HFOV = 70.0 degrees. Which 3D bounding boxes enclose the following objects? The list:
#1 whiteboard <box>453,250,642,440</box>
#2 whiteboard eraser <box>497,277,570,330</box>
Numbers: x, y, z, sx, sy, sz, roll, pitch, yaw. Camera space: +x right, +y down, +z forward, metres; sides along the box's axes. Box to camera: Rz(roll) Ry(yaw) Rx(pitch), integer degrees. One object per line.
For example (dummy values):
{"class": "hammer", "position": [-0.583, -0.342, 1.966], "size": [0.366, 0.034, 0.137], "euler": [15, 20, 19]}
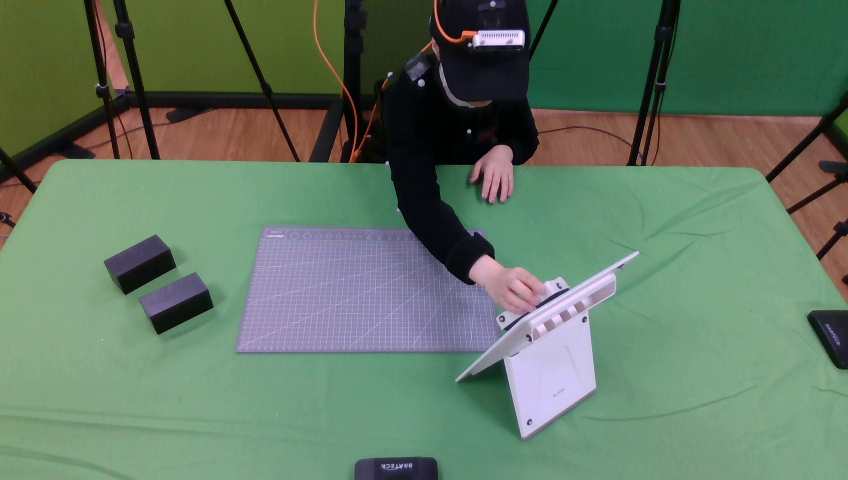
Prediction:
{"class": "whiteboard", "position": [0.206, 0.174, 0.890], "size": [0.217, 0.306, 0.143], "euler": [-24, 72, -25]}
{"class": "whiteboard eraser", "position": [0.165, 0.100, 0.903], "size": [0.056, 0.113, 0.041], "euler": [-14, 67, -53]}
